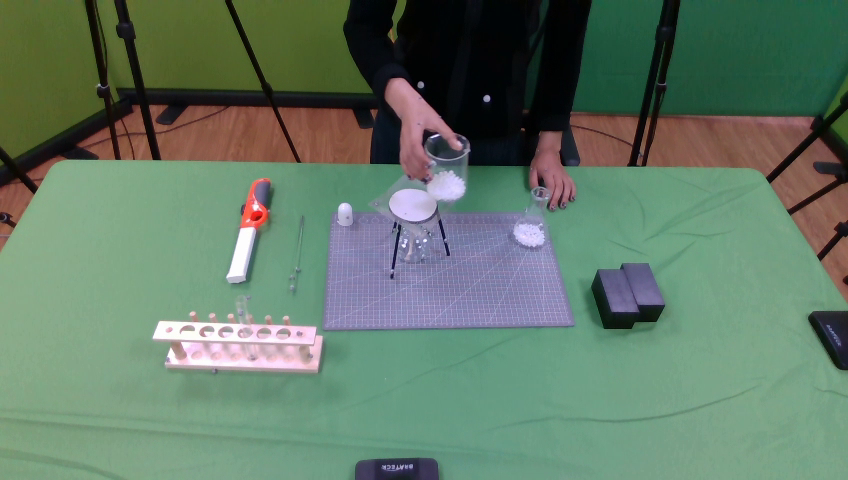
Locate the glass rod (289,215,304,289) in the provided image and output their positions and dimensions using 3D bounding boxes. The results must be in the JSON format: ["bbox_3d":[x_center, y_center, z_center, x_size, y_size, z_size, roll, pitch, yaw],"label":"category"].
[{"bbox_3d":[-0.246,0.019,1.171,0.008,0.008,0.198,0,43,-3],"label":"glass rod"}]

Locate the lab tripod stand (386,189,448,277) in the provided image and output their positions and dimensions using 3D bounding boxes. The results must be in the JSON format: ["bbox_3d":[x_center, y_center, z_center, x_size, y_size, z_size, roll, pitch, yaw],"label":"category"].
[{"bbox_3d":[-0.021,-0.018,1.135,0.148,0.132,0.147,3,44,-3],"label":"lab tripod stand"}]

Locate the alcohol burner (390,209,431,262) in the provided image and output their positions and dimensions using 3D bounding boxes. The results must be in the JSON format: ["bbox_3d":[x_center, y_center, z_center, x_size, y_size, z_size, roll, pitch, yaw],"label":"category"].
[{"bbox_3d":[-0.024,-0.014,1.144,0.078,0.119,0.077,4,45,-3],"label":"alcohol burner"}]

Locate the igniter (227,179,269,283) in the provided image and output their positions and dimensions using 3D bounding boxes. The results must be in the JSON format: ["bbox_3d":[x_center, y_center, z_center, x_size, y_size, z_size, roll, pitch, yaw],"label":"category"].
[{"bbox_3d":[-0.345,-0.027,1.195,0.057,0.025,0.274,-6,45,5],"label":"igniter"}]

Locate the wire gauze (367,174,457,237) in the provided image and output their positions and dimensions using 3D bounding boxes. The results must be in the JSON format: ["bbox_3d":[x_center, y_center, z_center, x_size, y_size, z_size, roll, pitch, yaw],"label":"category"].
[{"bbox_3d":[-0.020,-0.068,1.089,0.124,0.011,0.121,28,49,20],"label":"wire gauze"}]

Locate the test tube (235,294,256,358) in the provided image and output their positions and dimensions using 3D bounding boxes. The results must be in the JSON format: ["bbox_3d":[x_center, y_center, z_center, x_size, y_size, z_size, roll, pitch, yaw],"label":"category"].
[{"bbox_3d":[-0.274,0.136,0.933,0.017,0.151,0.017,4,46,-4],"label":"test tube"}]

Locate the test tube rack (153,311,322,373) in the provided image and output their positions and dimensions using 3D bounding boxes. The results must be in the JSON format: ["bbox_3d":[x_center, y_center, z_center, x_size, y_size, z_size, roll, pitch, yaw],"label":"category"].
[{"bbox_3d":[-0.293,0.160,0.978,0.242,0.085,0.066,3,46,-2],"label":"test tube rack"}]

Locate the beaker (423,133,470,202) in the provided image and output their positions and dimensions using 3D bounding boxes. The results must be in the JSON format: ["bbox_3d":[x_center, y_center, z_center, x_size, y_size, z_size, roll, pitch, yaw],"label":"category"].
[{"bbox_3d":[0.034,-0.122,1.031,0.074,0.101,0.083,-33,54,-27],"label":"beaker"}]

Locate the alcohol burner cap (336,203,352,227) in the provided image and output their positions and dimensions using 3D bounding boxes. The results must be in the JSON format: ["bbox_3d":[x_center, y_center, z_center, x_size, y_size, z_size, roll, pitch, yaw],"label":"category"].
[{"bbox_3d":[-0.162,-0.053,1.221,0.034,0.048,0.033,2,46,-2],"label":"alcohol burner cap"}]

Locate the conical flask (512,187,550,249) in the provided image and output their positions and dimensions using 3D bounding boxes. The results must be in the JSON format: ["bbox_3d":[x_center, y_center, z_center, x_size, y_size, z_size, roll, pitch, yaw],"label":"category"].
[{"bbox_3d":[0.217,-0.048,1.190,0.075,0.122,0.075,2,46,-2],"label":"conical flask"}]
